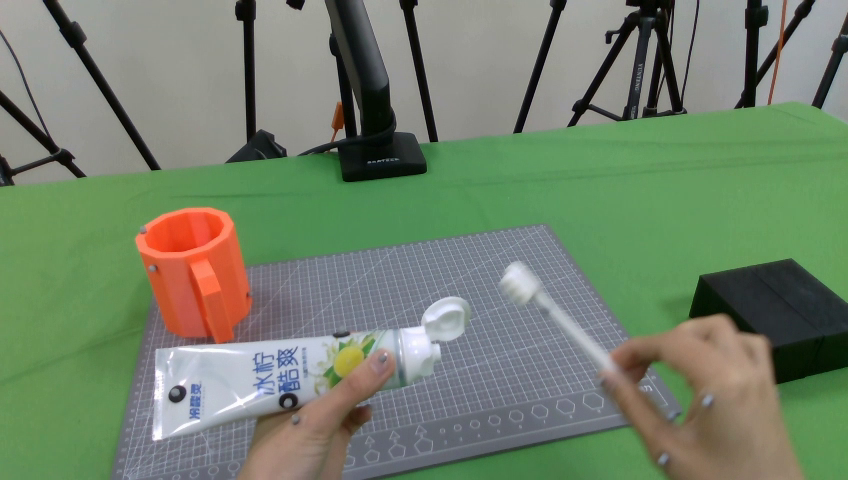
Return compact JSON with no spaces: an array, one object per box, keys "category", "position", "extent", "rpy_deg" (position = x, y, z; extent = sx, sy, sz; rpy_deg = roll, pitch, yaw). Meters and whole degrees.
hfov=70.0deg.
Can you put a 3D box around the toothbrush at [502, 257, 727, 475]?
[{"category":"toothbrush","position":[0.114,0.077,0.360],"extent":[0.182,0.014,0.016],"rpy_deg":[44,38,-2]}]

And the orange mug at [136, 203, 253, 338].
[{"category":"orange mug","position":[-0.211,0.034,0.575],"extent":[0.083,0.101,0.125],"rpy_deg":[-20,35,-24]}]

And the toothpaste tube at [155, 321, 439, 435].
[{"category":"toothpaste tube","position":[-0.073,0.073,0.357],"extent":[0.165,0.035,0.054],"rpy_deg":[-8,58,-8]}]

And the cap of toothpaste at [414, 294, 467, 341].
[{"category":"cap of toothpaste","position":[0.012,0.051,0.384],"extent":[0.037,0.037,0.011],"rpy_deg":[-14,36,-16]}]
